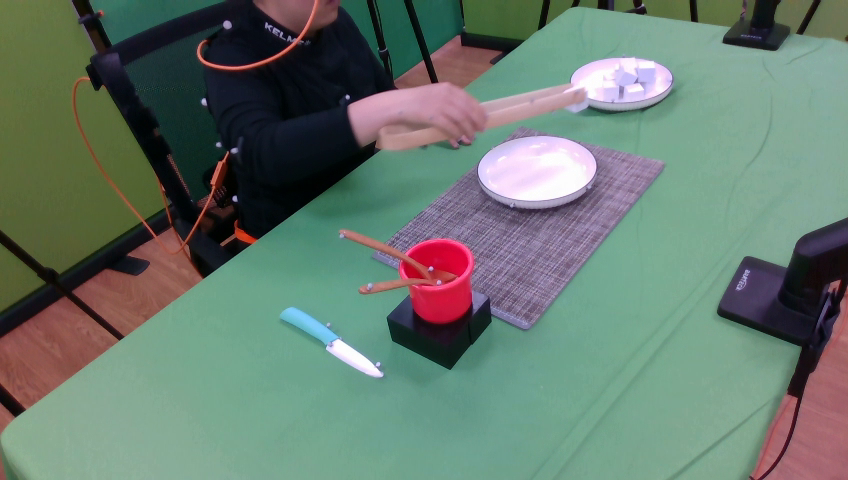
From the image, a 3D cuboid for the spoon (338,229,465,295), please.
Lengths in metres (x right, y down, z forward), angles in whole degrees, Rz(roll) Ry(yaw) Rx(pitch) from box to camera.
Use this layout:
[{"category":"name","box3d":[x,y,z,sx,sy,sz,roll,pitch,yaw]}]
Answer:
[{"category":"spoon","box3d":[-0.025,0.026,0.776,0.021,0.195,0.041,-41,34,32]}]

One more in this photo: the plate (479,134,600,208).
[{"category":"plate","box3d":[0.202,-0.117,1.065,0.207,0.039,0.206,-5,40,5]}]

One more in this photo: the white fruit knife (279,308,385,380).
[{"category":"white fruit knife","box3d":[-0.130,0.143,0.845,0.205,0.016,0.027,25,79,32]}]

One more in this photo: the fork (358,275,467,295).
[{"category":"fork","box3d":[-0.009,0.056,0.739,0.028,0.018,0.209,48,23,26]}]

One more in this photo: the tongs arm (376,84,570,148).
[{"category":"tongs arm","box3d":[0.093,-0.215,1.026,0.389,0.028,0.028,-18,37,-21]}]

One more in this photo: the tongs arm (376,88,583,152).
[{"category":"tongs arm","box3d":[0.104,-0.205,1.007,0.387,0.026,0.050,-20,35,-24]}]

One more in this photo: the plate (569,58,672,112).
[{"category":"plate","box3d":[0.411,-0.323,1.274,0.209,0.038,0.208,-5,41,5]}]
